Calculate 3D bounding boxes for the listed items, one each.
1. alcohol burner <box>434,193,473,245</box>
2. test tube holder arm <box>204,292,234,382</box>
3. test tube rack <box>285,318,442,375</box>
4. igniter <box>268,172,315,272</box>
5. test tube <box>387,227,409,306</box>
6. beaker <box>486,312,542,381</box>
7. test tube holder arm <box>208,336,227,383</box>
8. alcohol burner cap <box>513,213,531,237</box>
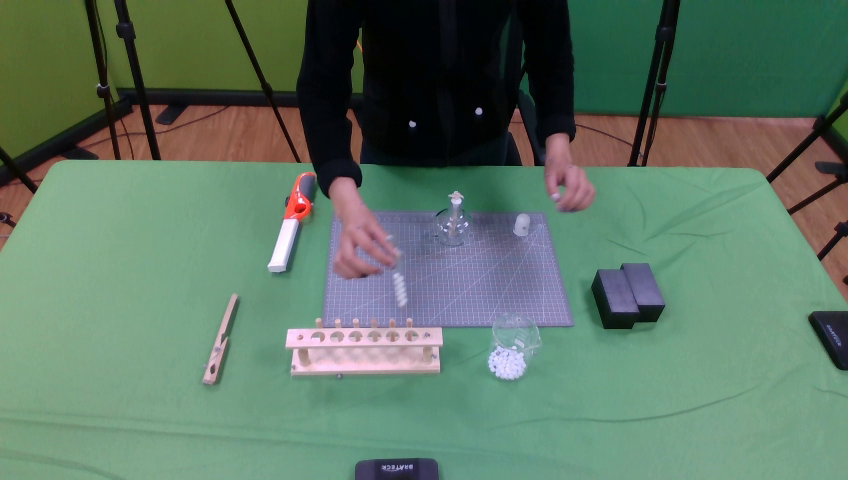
[{"bbox_3d":[0.059,-0.046,1.179,0.078,0.120,0.077,1,48,-1],"label":"alcohol burner"},{"bbox_3d":[-0.343,0.159,1.020,0.013,0.015,0.177,27,39,-27],"label":"test tube holder arm"},{"bbox_3d":[-0.095,0.168,0.986,0.242,0.085,0.066,0,46,-4],"label":"test tube rack"},{"bbox_3d":[-0.264,-0.045,1.219,0.057,0.025,0.275,-2,45,8],"label":"igniter"},{"bbox_3d":[-0.038,0.043,0.909,0.017,0.151,0.017,-4,39,4],"label":"test tube"},{"bbox_3d":[0.144,0.177,0.985,0.084,0.101,0.074,22,49,16],"label":"beaker"},{"bbox_3d":[-0.338,0.193,0.991,0.010,0.015,0.087,29,38,-26],"label":"test tube holder arm"},{"bbox_3d":[0.200,-0.034,1.227,0.034,0.048,0.033,1,46,-1],"label":"alcohol burner cap"}]
